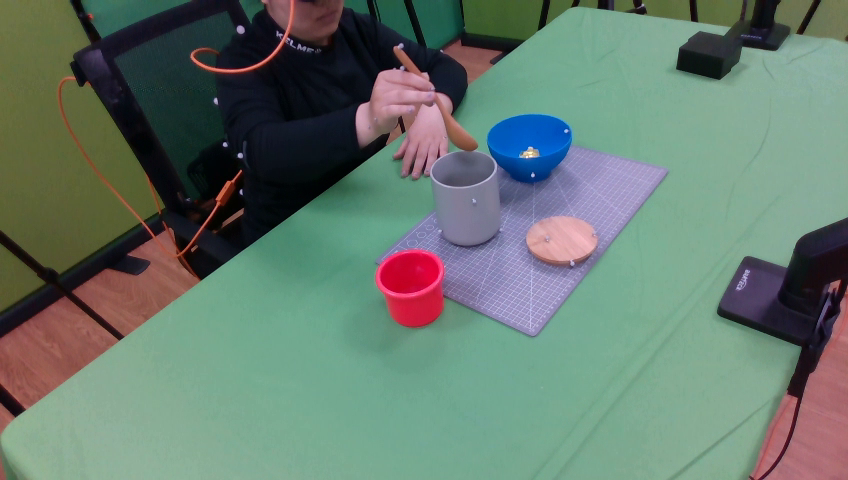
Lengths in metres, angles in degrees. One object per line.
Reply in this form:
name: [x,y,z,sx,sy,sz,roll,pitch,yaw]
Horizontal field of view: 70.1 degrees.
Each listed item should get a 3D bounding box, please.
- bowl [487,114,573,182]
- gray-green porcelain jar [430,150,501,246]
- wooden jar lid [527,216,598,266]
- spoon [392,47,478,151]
bowl: [0.190,-0.156,1.085,0.151,0.077,0.150,-5,40,5]
gray-green porcelain jar: [0.069,-0.062,0.959,0.106,0.127,0.105,-5,40,5]
wooden jar lid: [0.214,0.003,0.937,0.108,0.021,0.108,-4,40,4]
spoon: [0.016,-0.197,0.866,0.041,0.195,0.021,-4,42,50]
